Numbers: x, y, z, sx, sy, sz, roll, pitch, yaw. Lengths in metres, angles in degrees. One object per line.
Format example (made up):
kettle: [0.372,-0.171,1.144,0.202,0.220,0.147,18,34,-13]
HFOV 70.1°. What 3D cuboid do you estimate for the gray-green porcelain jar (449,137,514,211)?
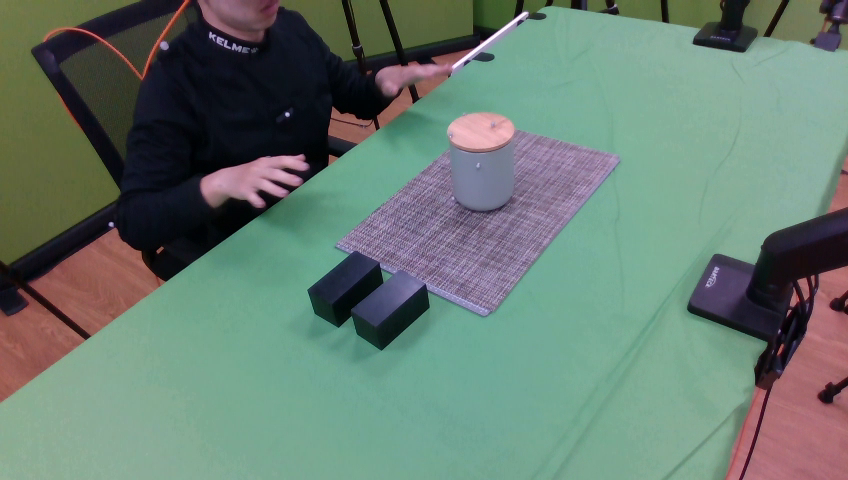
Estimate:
gray-green porcelain jar: [0.098,-0.120,1.008,0.106,0.127,0.105,-4,41,4]

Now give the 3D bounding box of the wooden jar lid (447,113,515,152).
wooden jar lid: [0.091,-0.169,0.968,0.108,0.021,0.108,-4,42,4]
